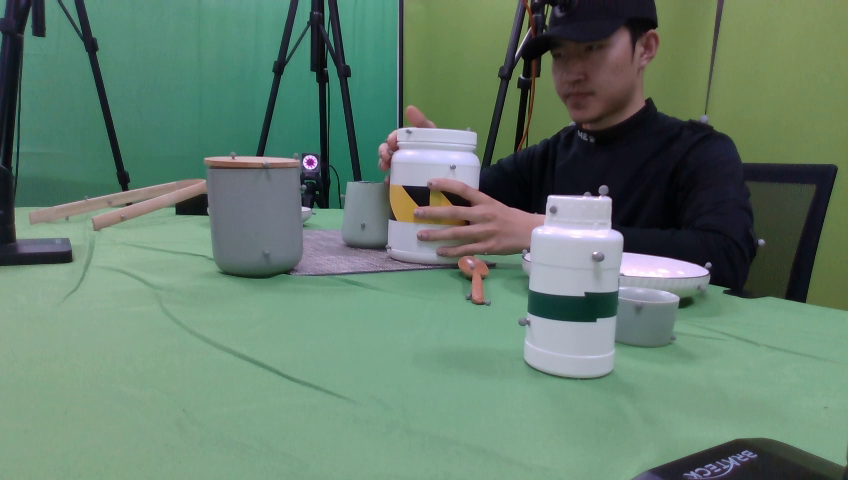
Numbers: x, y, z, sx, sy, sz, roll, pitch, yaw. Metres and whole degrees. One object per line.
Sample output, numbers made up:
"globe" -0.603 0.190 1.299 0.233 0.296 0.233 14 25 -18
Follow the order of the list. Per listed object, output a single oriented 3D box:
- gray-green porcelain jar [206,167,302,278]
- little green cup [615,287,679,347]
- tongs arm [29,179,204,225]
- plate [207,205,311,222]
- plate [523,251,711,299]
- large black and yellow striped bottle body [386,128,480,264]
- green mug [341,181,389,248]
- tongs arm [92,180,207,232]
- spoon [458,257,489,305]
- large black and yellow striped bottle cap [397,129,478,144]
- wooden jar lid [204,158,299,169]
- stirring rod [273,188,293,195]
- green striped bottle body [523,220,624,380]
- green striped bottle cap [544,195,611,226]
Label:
"gray-green porcelain jar" -0.201 -0.024 0.725 0.106 0.126 0.106 -1 9 1
"little green cup" 0.180 0.064 0.506 0.061 0.038 0.061 2 8 0
"tongs arm" -0.609 -0.083 1.245 0.050 0.026 0.386 5 16 23
"plate" -0.342 -0.050 1.259 0.208 0.039 0.207 3 7 0
"plate" 0.219 0.041 0.706 0.209 0.038 0.209 2 7 0
"large black and yellow striped bottle body" 0.013 -0.065 0.867 0.131 0.184 0.130 2 7 0
"green mug" -0.090 -0.044 0.996 0.093 0.105 0.125 0 7 -9
"tongs arm" -0.534 -0.077 1.221 0.028 0.028 0.388 -2 15 12
"spoon" 0.059 0.044 0.695 0.041 0.021 0.194 17 7 1
"large black and yellow striped bottle cap" 0.019 -0.146 0.856 0.115 0.019 0.115 1 8 0
"wooden jar lid" -0.202 -0.085 0.714 0.108 0.020 0.108 3 11 0
"stirring rod" -0.353 -0.122 1.518 0.006 0.014 0.176 1 7 2
"green striped bottle body" 0.104 0.031 0.422 0.063 0.119 0.063 2 8 0
"green striped bottle cap" 0.105 -0.020 0.415 0.044 0.020 0.044 2 4 0
